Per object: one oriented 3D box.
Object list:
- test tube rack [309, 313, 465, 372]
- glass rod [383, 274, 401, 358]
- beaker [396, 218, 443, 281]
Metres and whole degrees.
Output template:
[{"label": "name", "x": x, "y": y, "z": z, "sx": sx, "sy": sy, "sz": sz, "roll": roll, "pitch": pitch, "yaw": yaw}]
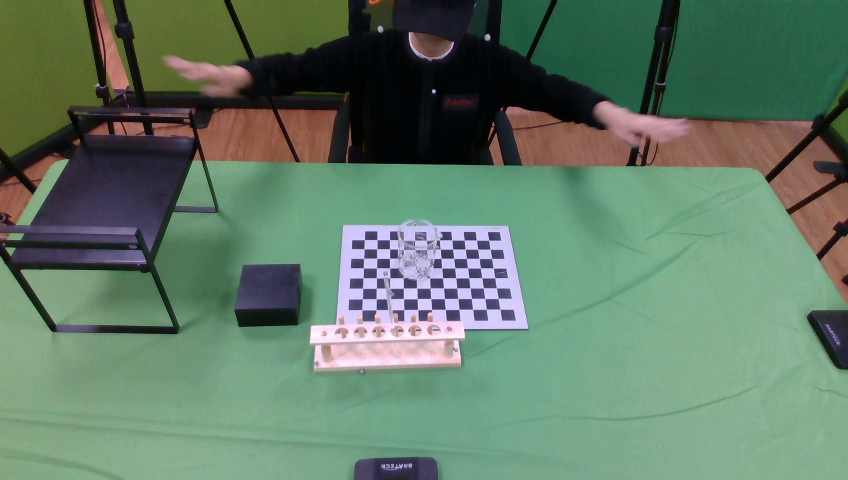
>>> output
[{"label": "test tube rack", "x": -0.059, "y": 0.161, "z": 0.990, "sx": 0.242, "sy": 0.085, "sz": 0.066, "roll": -1, "pitch": 46, "yaw": -5}, {"label": "glass rod", "x": -0.048, "y": 0.123, "z": 0.936, "sx": 0.008, "sy": 0.201, "sz": 0.008, "roll": -3, "pitch": 43, "yaw": 3}, {"label": "beaker", "x": -0.010, "y": 0.020, "z": 1.115, "sx": 0.084, "sy": 0.101, "sz": 0.073, "roll": 1, "pitch": 46, "yaw": -3}]
